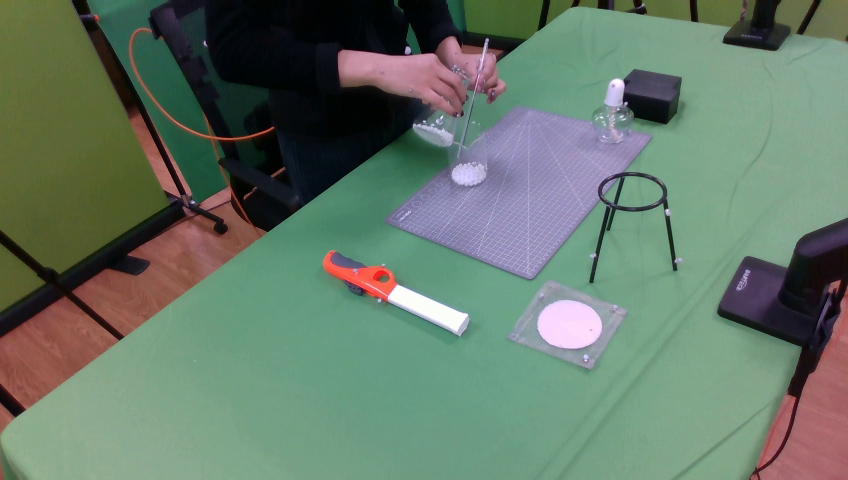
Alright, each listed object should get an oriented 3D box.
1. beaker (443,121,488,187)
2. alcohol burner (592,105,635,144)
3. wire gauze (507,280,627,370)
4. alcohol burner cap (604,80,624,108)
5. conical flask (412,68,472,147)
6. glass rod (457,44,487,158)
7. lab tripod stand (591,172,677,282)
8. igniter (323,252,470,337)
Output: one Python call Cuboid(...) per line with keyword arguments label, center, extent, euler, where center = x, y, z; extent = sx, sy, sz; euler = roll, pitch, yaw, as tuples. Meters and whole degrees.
Cuboid(label="beaker", center=(0.078, -0.150, 1.083), extent=(0.074, 0.101, 0.083), euler=(-9, 40, 1))
Cuboid(label="alcohol burner", center=(0.353, -0.242, 1.126), extent=(0.078, 0.119, 0.077), euler=(-5, 38, 5))
Cuboid(label="wire gauze", center=(0.196, 0.114, 0.823), extent=(0.120, 0.011, 0.125), euler=(20, 50, 31))
Cuboid(label="alcohol burner cap", center=(0.350, -0.269, 1.102), extent=(0.034, 0.048, 0.033), euler=(-2, 46, 3))
Cuboid(label="conical flask", center=(0.037, -0.219, 0.991), extent=(0.075, 0.076, 0.122), euler=(20, 78, 31))
Cuboid(label="glass rod", center=(0.082, -0.240, 1.045), extent=(0.008, 0.199, 0.008), euler=(14, 5, -1))
Cuboid(label="lab tripod stand", center=(0.292, -0.022, 0.867), extent=(0.148, 0.132, 0.147), euler=(-7, 39, 6))
Cuboid(label="igniter", center=(-0.052, 0.075, 0.901), extent=(0.274, 0.025, 0.057), euler=(22, 60, 32))
